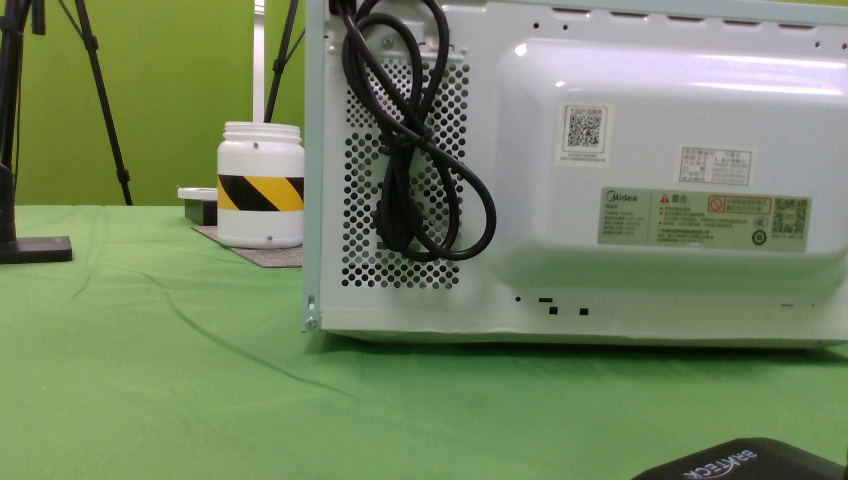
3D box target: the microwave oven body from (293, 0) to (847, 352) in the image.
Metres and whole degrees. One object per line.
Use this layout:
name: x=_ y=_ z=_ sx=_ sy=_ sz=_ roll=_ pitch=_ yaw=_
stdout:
microwave oven body: x=0.122 y=-0.055 z=0.551 sx=0.442 sy=0.260 sz=0.325 roll=3 pitch=7 yaw=-5

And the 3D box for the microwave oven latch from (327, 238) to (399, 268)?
microwave oven latch: x=-0.069 y=0.015 z=0.694 sx=0.079 sy=0.029 sz=0.030 roll=3 pitch=7 yaw=-3

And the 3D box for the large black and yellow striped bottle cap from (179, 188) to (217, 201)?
large black and yellow striped bottle cap: x=-0.434 y=-0.093 z=1.226 sx=0.115 sy=0.019 sz=0.115 roll=3 pitch=9 yaw=0

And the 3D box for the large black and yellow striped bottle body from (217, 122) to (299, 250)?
large black and yellow striped bottle body: x=-0.250 y=-0.084 z=0.931 sx=0.131 sy=0.184 sz=0.130 roll=2 pitch=7 yaw=0

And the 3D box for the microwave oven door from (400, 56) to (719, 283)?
microwave oven door: x=0.155 y=-0.077 z=0.698 sx=0.356 sy=0.243 sz=0.039 roll=2 pitch=8 yaw=-5
